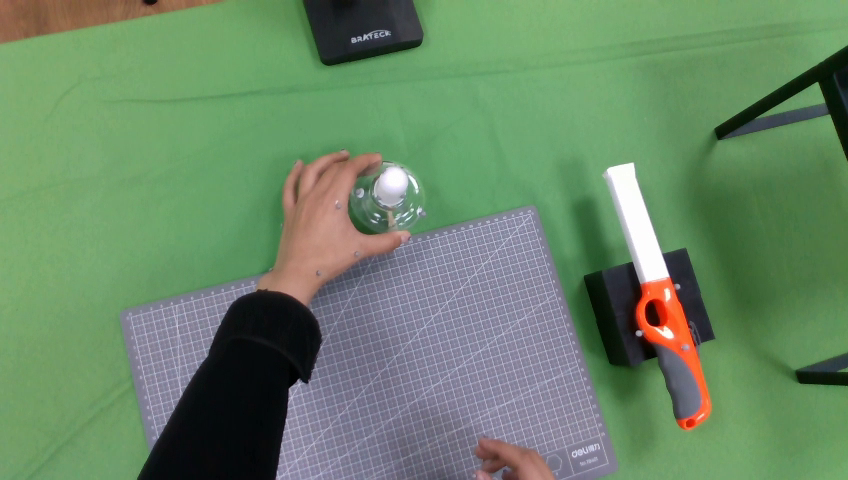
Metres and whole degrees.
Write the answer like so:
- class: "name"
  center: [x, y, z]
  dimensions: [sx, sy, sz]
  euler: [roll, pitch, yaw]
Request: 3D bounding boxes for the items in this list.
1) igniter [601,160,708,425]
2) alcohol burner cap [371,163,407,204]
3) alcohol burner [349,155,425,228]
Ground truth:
- class: "igniter"
  center: [0.238, 0.049, 0.628]
  dimensions: [0.057, 0.025, 0.275]
  euler: [-12, 80, -10]
- class: "alcohol burner cap"
  center: [-0.032, -0.056, 0.578]
  dimensions: [0.034, 0.048, 0.033]
  euler: [2, 78, -10]
- class: "alcohol burner"
  center: [-0.035, -0.053, 0.608]
  dimensions: [0.078, 0.119, 0.077]
  euler: [2, 79, -10]
